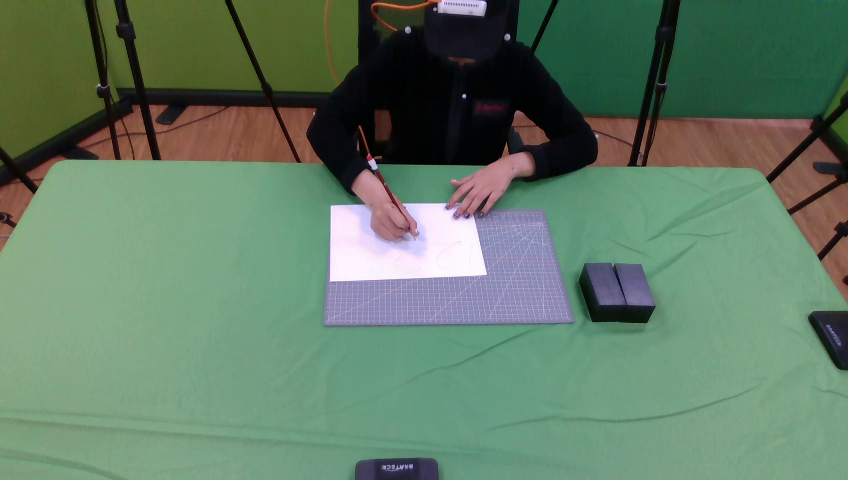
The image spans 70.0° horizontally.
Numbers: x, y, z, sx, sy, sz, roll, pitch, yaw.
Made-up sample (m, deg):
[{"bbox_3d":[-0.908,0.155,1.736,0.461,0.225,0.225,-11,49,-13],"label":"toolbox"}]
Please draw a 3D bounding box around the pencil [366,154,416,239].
[{"bbox_3d":[-0.061,-0.081,1.171,0.012,0.195,0.012,-25,22,11],"label":"pencil"}]
